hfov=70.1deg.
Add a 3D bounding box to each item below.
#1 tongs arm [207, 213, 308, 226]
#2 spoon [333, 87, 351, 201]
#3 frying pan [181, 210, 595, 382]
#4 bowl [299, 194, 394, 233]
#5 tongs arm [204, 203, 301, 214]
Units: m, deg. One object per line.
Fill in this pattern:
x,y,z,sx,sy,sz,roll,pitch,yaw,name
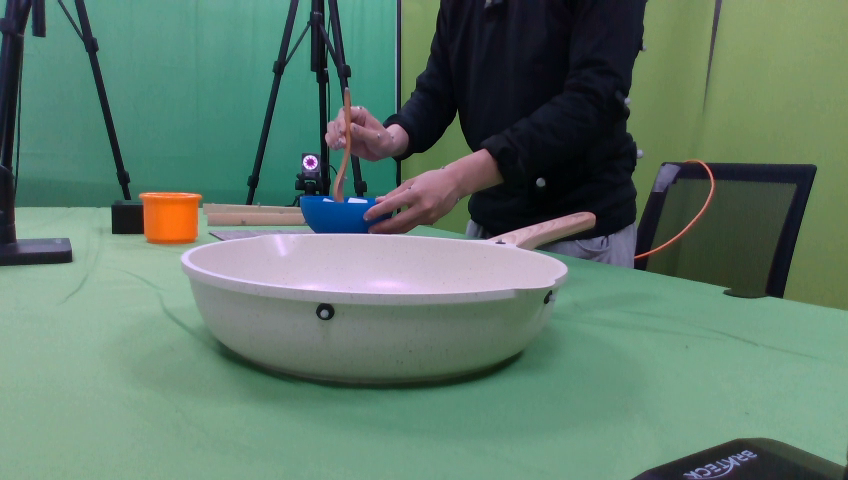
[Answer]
-0.264,-0.046,1.297,0.390,0.028,0.028,-2,7,-32,tongs arm
-0.124,-0.139,0.944,0.021,0.193,0.041,8,5,5,spoon
0.034,0.019,0.557,0.305,0.102,0.490,10,19,42,frying pan
-0.123,-0.029,0.959,0.151,0.077,0.151,3,7,0,bowl
-0.295,-0.062,1.370,0.386,0.026,0.050,1,9,-19,tongs arm
